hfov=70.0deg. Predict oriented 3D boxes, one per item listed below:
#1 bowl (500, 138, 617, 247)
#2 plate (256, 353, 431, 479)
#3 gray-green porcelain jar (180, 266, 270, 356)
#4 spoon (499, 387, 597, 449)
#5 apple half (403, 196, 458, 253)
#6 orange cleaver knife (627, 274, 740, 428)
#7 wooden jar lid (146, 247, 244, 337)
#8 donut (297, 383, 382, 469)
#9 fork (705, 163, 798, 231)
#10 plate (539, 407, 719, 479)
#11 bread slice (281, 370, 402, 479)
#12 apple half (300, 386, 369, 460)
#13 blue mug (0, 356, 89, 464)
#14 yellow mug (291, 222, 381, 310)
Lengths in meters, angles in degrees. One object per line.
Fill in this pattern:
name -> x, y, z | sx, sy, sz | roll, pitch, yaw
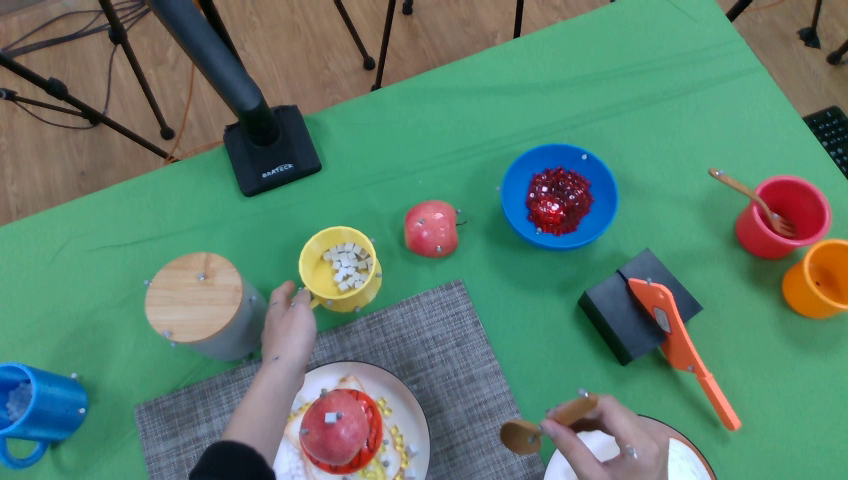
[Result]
bowl -> 0.174, -0.051, 0.810 | 0.151, 0.077, 0.150 | -1, 70, 2
plate -> -0.094, 0.242, 0.728 | 0.207, 0.039, 0.206 | -1, 69, 2
gray-green porcelain jar -> -0.255, 0.084, 0.751 | 0.106, 0.127, 0.105 | -1, 68, 2
spoon -> 0.106, 0.158, 0.527 | 0.041, 0.194, 0.021 | 37, 65, 7
apple half -> 0.008, -0.026, 0.822 | 0.074, 0.054, 0.080 | -1, 69, 5
orange cleaver knife -> 0.311, 0.131, 0.733 | 0.012, 0.077, 0.211 | -31, 93, -16
wooden jar lid -> -0.259, 0.061, 0.692 | 0.108, 0.021, 0.107 | 0, 66, 1
donut -> -0.097, 0.216, 0.707 | 0.099, 0.048, 0.098 | -1, 71, 3
fork -> 0.416, -0.053, 0.762 | 0.209, 0.018, 0.028 | 24, 64, -33
plate -> 0.234, 0.300, 0.696 | 0.209, 0.038, 0.207 | -1, 69, 3
bread slice -> -0.090, 0.239, 0.730 | 0.107, 0.018, 0.133 | -38, 72, -10
apple half -> -0.102, 0.204, 0.674 | 0.081, 0.033, 0.081 | -3, 70, 8
blue mug -> -0.474, 0.206, 0.725 | 0.082, 0.106, 0.115 | -2, 69, 2
yellow mug -> -0.121, 0.044, 0.793 | 0.131, 0.064, 0.099 | -43, 73, -12
